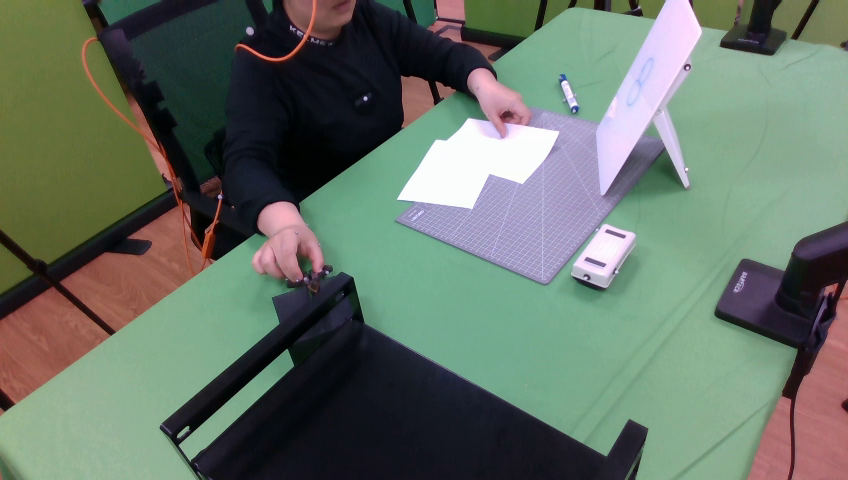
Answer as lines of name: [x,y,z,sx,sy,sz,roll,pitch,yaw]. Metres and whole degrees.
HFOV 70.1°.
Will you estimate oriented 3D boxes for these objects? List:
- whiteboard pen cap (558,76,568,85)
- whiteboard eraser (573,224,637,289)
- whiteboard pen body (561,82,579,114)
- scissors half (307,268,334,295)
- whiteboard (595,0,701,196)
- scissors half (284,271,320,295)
whiteboard pen cap: [0.309,-0.350,1.340,0.018,0.018,0.033,-7,41,1]
whiteboard eraser: [0.267,0.025,0.891,0.055,0.042,0.113,19,47,31]
whiteboard pen body: [0.310,-0.311,1.298,0.017,0.017,0.140,-6,41,2]
scissors half: [-0.152,0.060,0.871,0.040,0.013,0.174,-10,9,-4]
whiteboard: [0.421,-0.227,1.010,0.144,0.305,0.216,18,42,-2]
scissors half: [-0.171,0.064,0.867,0.040,0.013,0.174,-19,10,-21]
